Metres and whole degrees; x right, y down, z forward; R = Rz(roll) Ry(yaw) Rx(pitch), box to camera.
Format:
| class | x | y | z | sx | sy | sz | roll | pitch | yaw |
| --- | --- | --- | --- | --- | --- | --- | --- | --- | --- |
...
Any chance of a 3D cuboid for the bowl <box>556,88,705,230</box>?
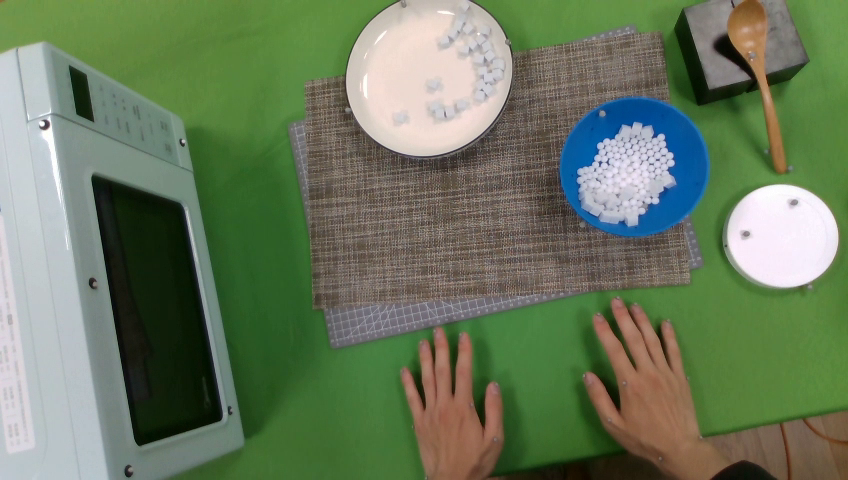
| class | x | y | z | sx | sy | sz | roll | pitch | yaw |
| --- | --- | --- | --- | --- | --- | --- | --- | --- | --- |
| bowl | 0.222 | -0.081 | 0.671 | 0.151 | 0.077 | 0.151 | -1 | 84 | 11 |

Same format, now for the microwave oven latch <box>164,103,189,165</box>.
| class | x | y | z | sx | sy | sz | roll | pitch | yaw |
| --- | --- | --- | --- | --- | --- | --- | --- | --- | --- |
| microwave oven latch | -0.329 | -0.134 | 0.781 | 0.030 | 0.029 | 0.079 | -15 | 82 | 8 |

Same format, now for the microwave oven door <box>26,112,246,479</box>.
| class | x | y | z | sx | sy | sz | roll | pitch | yaw |
| --- | --- | --- | --- | --- | --- | --- | --- | --- | --- |
| microwave oven door | -0.296 | 0.065 | 0.652 | 0.039 | 0.245 | 0.354 | -16 | 81 | 9 |

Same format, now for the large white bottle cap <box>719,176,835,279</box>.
| class | x | y | z | sx | sy | sz | roll | pitch | yaw |
| --- | --- | --- | --- | --- | --- | --- | --- | --- | --- |
| large white bottle cap | 0.389 | -0.013 | 0.669 | 0.114 | 0.018 | 0.114 | -1 | 84 | 9 |

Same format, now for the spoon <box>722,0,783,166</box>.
| class | x | y | z | sx | sy | sz | roll | pitch | yaw |
| --- | --- | --- | --- | --- | --- | --- | --- | --- | --- |
| spoon | 0.360 | -0.168 | 0.652 | 0.041 | 0.021 | 0.194 | -21 | 103 | 5 |

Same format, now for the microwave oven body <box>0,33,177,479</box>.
| class | x | y | z | sx | sy | sz | roll | pitch | yaw |
| --- | --- | --- | --- | --- | --- | --- | --- | --- | --- |
| microwave oven body | -0.445 | 0.064 | 0.684 | 0.326 | 0.261 | 0.440 | -15 | 82 | 8 |

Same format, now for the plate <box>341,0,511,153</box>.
| class | x | y | z | sx | sy | sz | roll | pitch | yaw |
| --- | --- | --- | --- | --- | --- | --- | --- | --- | --- |
| plate | 0.003 | -0.204 | 0.743 | 0.209 | 0.038 | 0.208 | -1 | 83 | 10 |
